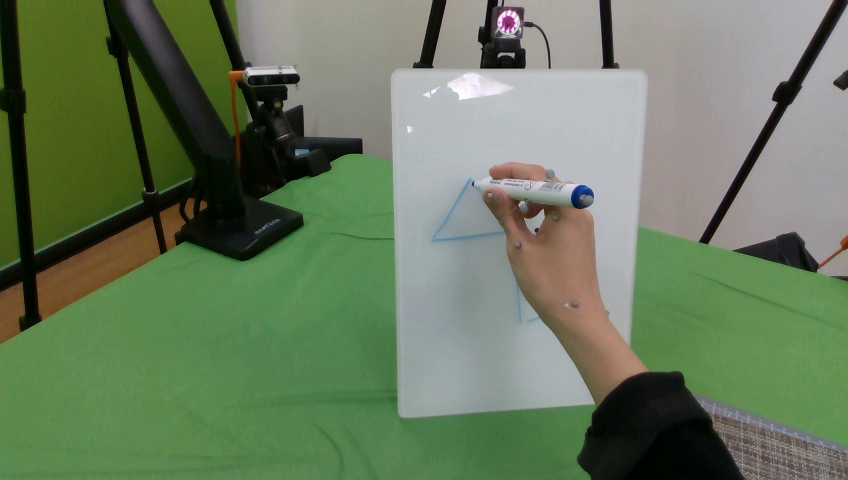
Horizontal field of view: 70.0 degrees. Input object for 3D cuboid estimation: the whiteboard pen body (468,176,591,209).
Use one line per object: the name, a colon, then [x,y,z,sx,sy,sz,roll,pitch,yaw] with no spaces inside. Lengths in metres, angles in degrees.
whiteboard pen body: [0.068,-0.036,0.436,0.017,0.017,0.139,-13,14,-25]

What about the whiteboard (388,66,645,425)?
whiteboard: [0.072,-0.004,0.585,0.217,0.306,0.143,-2,12,-7]
